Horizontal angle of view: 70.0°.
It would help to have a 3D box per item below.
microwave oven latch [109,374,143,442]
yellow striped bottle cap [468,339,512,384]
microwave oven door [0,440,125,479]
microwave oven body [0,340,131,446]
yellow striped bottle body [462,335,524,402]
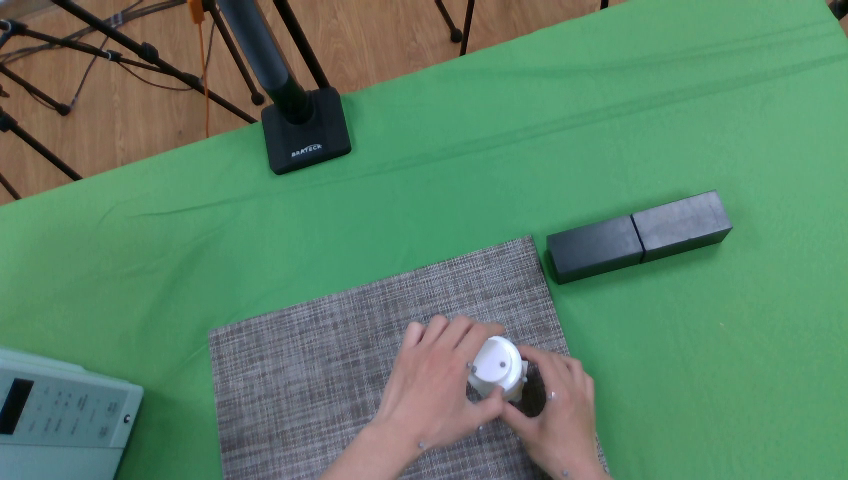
[{"bbox_3d":[-0.386,0.213,0.769,0.030,0.030,0.079,12,74,14],"label":"microwave oven latch"},{"bbox_3d":[0.068,0.125,0.624,0.044,0.019,0.044,-4,70,11],"label":"yellow striped bottle cap"},{"bbox_3d":[-0.458,0.382,0.614,0.039,0.246,0.354,10,73,15],"label":"microwave oven door"},{"bbox_3d":[-0.587,0.321,0.666,0.325,0.262,0.439,10,74,14],"label":"microwave oven body"},{"bbox_3d":[0.078,0.143,0.674,0.062,0.121,0.062,-4,69,10],"label":"yellow striped bottle body"}]
